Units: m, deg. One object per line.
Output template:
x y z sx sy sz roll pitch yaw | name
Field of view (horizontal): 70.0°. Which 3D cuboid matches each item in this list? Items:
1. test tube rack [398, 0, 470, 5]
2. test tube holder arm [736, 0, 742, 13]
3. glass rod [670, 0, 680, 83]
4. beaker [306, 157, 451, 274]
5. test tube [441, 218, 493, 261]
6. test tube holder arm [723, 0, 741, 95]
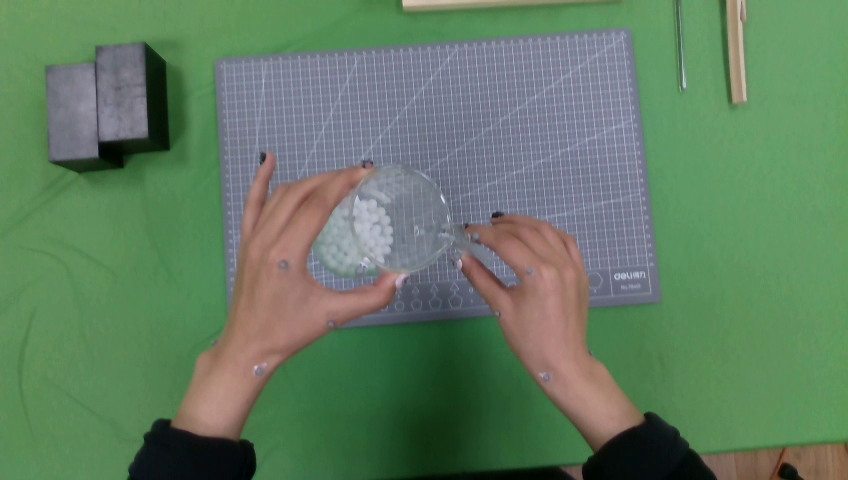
0.091 -0.301 0.623 0.242 0.085 0.066 -4 85 -1 | test tube rack
0.336 -0.289 0.656 0.010 0.015 0.087 4 85 -29 | test tube holder arm
0.271 -0.269 0.659 0.008 0.008 0.199 0 85 -1 | glass rod
-0.037 -0.012 0.442 0.084 0.100 0.073 18 76 -26 | beaker
0.039 0.003 0.504 0.017 0.151 0.017 -2 81 15 | test tube
0.330 -0.244 0.650 0.013 0.015 0.178 4 85 -29 | test tube holder arm
